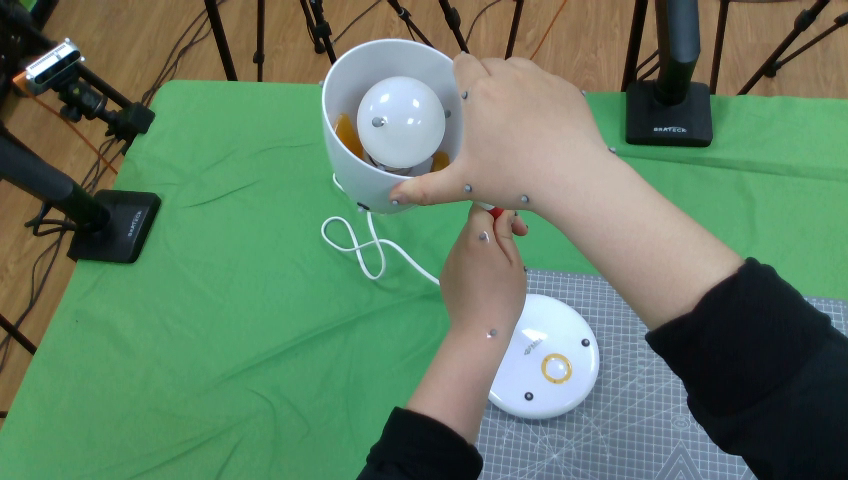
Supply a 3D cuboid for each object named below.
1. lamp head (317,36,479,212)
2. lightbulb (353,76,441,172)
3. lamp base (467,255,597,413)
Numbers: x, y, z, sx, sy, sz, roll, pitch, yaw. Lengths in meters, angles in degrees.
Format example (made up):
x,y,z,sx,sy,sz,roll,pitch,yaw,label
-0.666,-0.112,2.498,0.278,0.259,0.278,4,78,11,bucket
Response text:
x,y,z,sx,sy,sz,roll,pitch,yaw,label
-0.023,-0.071,0.458,0.112,0.123,0.111,3,67,-6,lamp head
-0.022,-0.070,0.432,0.059,0.108,0.059,3,65,-7,lightbulb
0.113,0.094,0.697,0.178,0.182,0.160,30,69,25,lamp base
